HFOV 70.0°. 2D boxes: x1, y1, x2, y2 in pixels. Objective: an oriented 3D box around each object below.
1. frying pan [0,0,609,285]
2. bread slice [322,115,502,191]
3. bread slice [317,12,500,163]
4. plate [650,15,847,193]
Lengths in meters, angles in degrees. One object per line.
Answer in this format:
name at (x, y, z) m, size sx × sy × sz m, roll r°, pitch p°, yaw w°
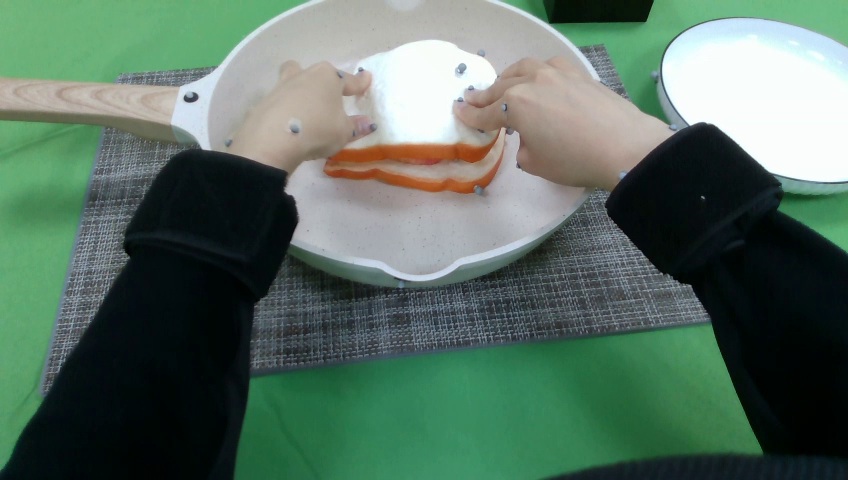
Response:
frying pan at (-0.116, -0.091, 0.441) m, size 0.489 × 0.103 × 0.303 m, roll 4°, pitch 53°, yaw -10°
bread slice at (-0.004, -0.084, 0.491) m, size 0.134 × 0.018 × 0.106 m, roll 6°, pitch 55°, yaw 4°
bread slice at (-0.006, -0.113, 0.455) m, size 0.132 × 0.019 × 0.104 m, roll 11°, pitch 70°, yaw -11°
plate at (0.296, -0.116, 0.522) m, size 0.208 × 0.039 × 0.205 m, roll 1°, pitch 55°, yaw -1°
